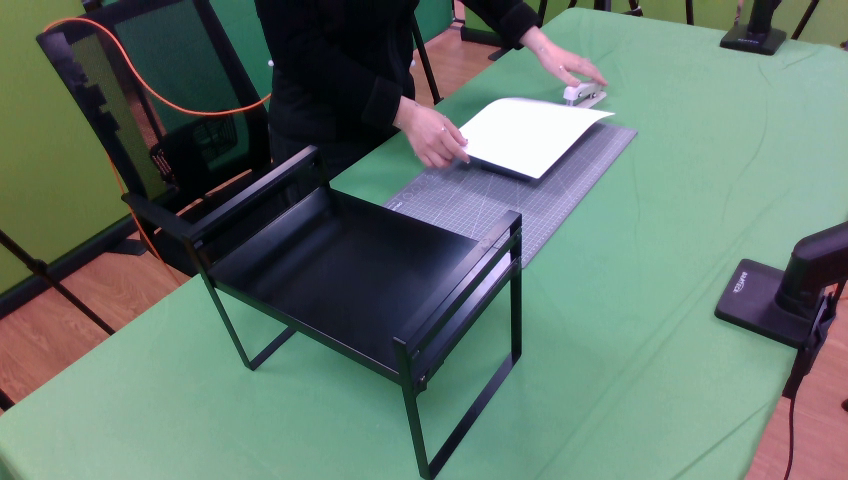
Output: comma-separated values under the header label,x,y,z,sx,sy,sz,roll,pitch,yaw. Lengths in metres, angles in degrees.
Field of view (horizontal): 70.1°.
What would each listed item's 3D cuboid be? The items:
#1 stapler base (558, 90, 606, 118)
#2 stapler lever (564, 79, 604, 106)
label,x,y,z,sx,sy,sz,roll,pitch,yaw
stapler base,0.332,-0.292,1.264,0.041,0.024,0.131,32,51,33
stapler lever,0.331,-0.313,1.249,0.026,0.040,0.118,32,51,33
